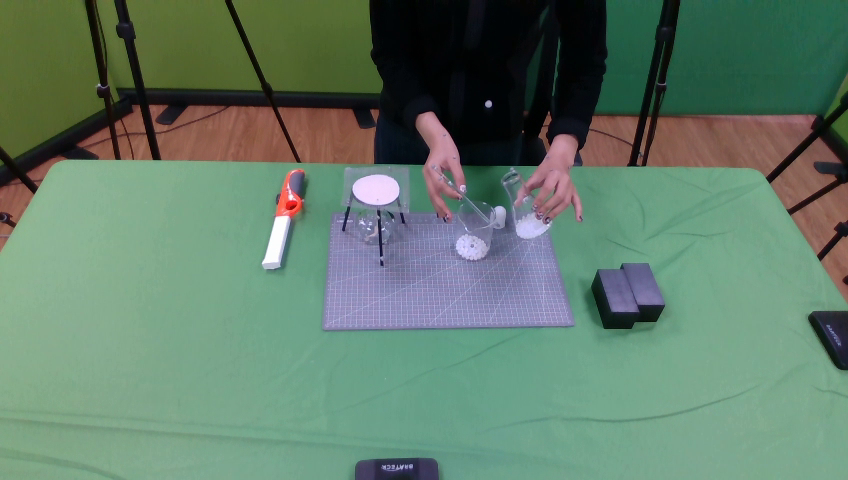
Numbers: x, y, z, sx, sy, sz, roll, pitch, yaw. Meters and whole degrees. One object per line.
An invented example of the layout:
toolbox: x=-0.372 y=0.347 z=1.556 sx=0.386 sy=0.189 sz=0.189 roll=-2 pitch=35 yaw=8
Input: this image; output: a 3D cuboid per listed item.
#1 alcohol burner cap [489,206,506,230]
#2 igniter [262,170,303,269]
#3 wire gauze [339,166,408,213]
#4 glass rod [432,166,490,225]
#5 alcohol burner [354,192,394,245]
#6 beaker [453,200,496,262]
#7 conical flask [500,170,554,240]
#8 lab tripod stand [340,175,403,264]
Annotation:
alcohol burner cap: x=0.152 y=-0.047 z=1.241 sx=0.034 sy=0.048 sz=0.033 roll=2 pitch=45 yaw=-2
igniter: x=-0.283 y=-0.050 z=1.222 sx=0.057 sy=0.025 sz=0.275 roll=-5 pitch=45 yaw=6
wire gauze: x=-0.091 y=-0.096 z=1.110 sx=0.125 sy=0.011 sz=0.120 roll=2 pitch=44 yaw=-3
glass rod: x=0.069 y=-0.077 z=1.090 sx=0.008 sy=0.201 sz=0.008 roll=-19 pitch=52 yaw=27
alcohol burner: x=-0.096 y=-0.048 z=1.171 sx=0.078 sy=0.119 sz=0.077 roll=4 pitch=45 yaw=-4
beaker: x=0.094 y=-0.012 z=1.162 sx=0.074 sy=0.101 sz=0.083 roll=16 pitch=48 yaw=12
conical flask: x=0.177 y=-0.065 z=1.080 sx=0.075 sy=0.122 sz=0.075 roll=-24 pitch=28 yaw=14
lab tripod stand: x=-0.094 y=-0.050 z=1.160 sx=0.148 sy=0.132 sz=0.147 roll=2 pitch=44 yaw=-2
